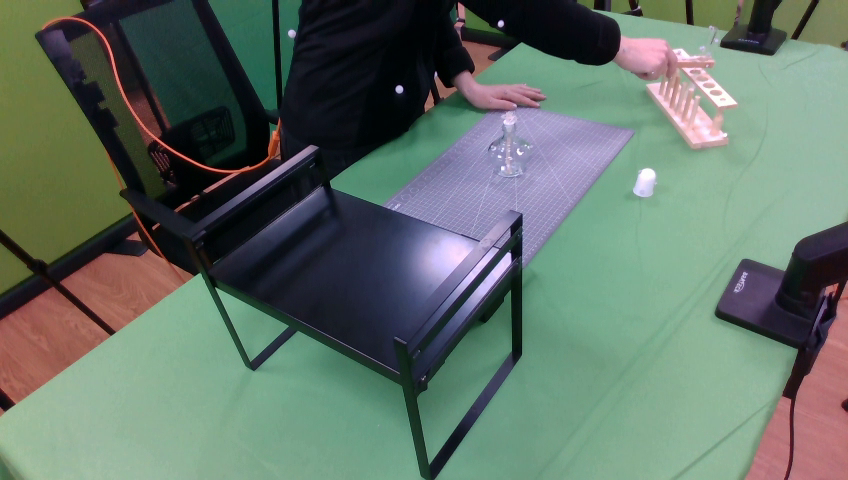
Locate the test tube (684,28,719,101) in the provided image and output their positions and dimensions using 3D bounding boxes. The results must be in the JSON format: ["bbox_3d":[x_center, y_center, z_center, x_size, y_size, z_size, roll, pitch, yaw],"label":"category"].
[{"bbox_3d":[0.524,-0.329,1.146,0.017,0.150,0.017,2,47,-1],"label":"test tube"}]

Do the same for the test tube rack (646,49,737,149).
[{"bbox_3d":[0.512,-0.280,1.175,0.067,0.085,0.241,-7,41,0],"label":"test tube rack"}]

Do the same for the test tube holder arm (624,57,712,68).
[{"bbox_3d":[0.456,-0.332,1.132,0.179,0.015,0.013,-5,49,-11],"label":"test tube holder arm"}]

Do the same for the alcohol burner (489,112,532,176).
[{"bbox_3d":[0.155,-0.176,1.084,0.078,0.119,0.077,-3,41,3],"label":"alcohol burner"}]

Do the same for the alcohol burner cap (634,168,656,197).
[{"bbox_3d":[0.374,-0.099,1.018,0.034,0.048,0.033,-1,41,1],"label":"alcohol burner cap"}]

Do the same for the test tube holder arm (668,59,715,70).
[{"bbox_3d":[0.502,-0.330,1.136,0.088,0.015,0.010,2,49,-6],"label":"test tube holder arm"}]
